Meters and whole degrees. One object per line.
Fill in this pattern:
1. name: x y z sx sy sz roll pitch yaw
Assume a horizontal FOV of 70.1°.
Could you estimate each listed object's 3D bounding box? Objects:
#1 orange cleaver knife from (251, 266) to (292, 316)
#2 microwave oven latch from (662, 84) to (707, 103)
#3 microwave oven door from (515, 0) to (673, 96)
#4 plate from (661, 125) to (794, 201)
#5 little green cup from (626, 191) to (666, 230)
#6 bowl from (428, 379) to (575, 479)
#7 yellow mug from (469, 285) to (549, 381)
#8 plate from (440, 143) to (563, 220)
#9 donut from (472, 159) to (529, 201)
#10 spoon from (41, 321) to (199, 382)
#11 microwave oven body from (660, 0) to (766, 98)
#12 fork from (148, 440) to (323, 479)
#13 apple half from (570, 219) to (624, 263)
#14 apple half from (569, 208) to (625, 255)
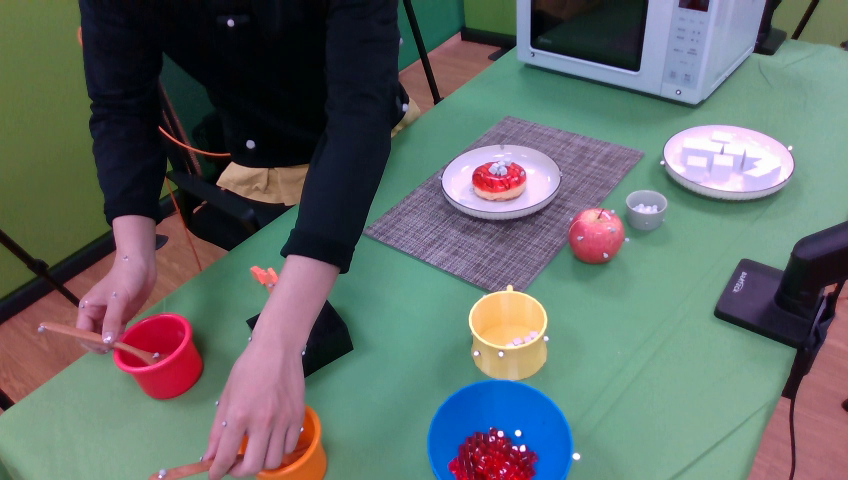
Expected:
1. orange cleaver knife: -0.221 0.071 0.873 0.012 0.077 0.210 -25 11 -21
2. microwave oven latch: 0.517 -0.296 1.204 0.078 0.029 0.030 27 52 35
3. microwave oven door: 0.344 -0.454 1.259 0.353 0.245 0.039 26 51 33
4. plate: 0.514 -0.128 1.035 0.207 0.039 0.206 -4 41 4
5. little green cup: 0.352 -0.046 0.963 0.061 0.039 0.061 -4 40 4
6. bowl: 0.082 0.233 0.644 0.151 0.077 0.150 -4 39 4
7. yellow mug: 0.112 0.112 0.792 0.100 0.064 0.130 0 39 9
8. plate: 0.134 -0.098 1.051 0.209 0.038 0.208 -4 40 4
9. donut: 0.132 -0.105 1.043 0.099 0.048 0.098 -5 37 4
10. spoon: -0.384 0.139 0.774 0.021 0.195 0.041 -44 31 28
11. microwave oven body: 0.472 -0.513 1.317 0.438 0.261 0.327 26 51 34
12. fork: -0.186 0.230 0.629 0.028 0.018 0.209 37 12 35
13. apple half: 0.250 0.010 0.885 0.081 0.081 0.033 7 39 17
14. apple half: 0.262 -0.014 0.913 0.080 0.075 0.053 4 37 20
